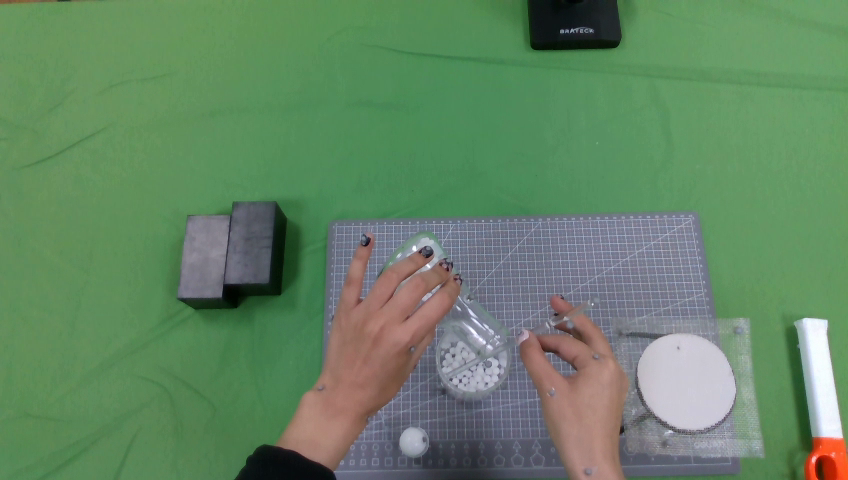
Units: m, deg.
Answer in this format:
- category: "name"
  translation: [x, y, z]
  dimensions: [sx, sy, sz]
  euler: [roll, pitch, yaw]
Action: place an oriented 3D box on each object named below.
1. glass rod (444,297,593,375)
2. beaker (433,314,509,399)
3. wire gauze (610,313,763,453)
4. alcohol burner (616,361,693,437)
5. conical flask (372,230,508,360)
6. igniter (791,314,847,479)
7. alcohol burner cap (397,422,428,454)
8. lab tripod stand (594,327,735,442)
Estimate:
- category: "glass rod"
  translation: [0.077, 0.091, 0.544]
  dimensions: [0.008, 0.200, 0.008]
  euler: [19, 53, -28]
- category: "beaker"
  translation: [0.049, 0.126, 0.637]
  dimensions: [0.074, 0.101, 0.083]
  euler: [21, 72, 9]
- category: "wire gauze"
  translation: [0.234, 0.126, 0.542]
  dimensions: [0.125, 0.011, 0.120]
  euler: [1, 72, 3]
- category: "alcohol burner"
  translation: [0.237, 0.159, 0.613]
  dimensions: [0.078, 0.120, 0.077]
  euler: [-1, 71, 4]
- category: "conical flask"
  translation: [0.018, 0.053, 0.545]
  dimensions: [0.121, 0.076, 0.075]
  euler: [41, 76, 11]
- category: "igniter"
  translation: [0.422, 0.215, 0.637]
  dimensions: [0.057, 0.025, 0.275]
  euler: [6, 71, -8]
- category: "alcohol burner cap"
  translation: [-0.013, 0.209, 0.640]
  dimensions: [0.034, 0.048, 0.033]
  euler: [0, 72, 1]
- category: "lab tripod stand"
  translation: [0.235, 0.149, 0.605]
  dimensions: [0.148, 0.132, 0.147]
  euler: [0, 73, 2]
